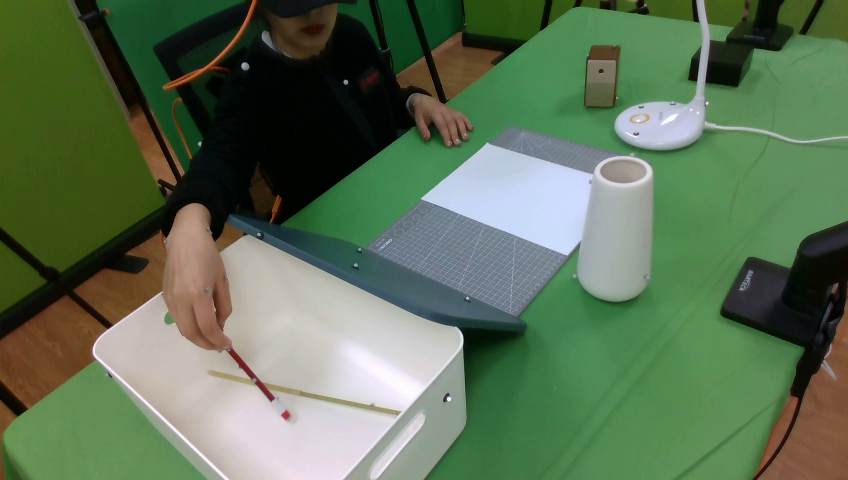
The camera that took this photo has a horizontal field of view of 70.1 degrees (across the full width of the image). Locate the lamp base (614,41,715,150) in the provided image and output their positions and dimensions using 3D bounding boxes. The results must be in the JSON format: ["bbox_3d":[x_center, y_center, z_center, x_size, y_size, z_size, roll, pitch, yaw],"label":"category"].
[{"bbox_3d":[0.449,-0.277,1.106,0.179,0.181,0.160,1,41,9],"label":"lamp base"}]

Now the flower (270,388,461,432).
[{"bbox_3d":[-0.122,0.202,0.770,0.360,0.038,0.044,2,77,22],"label":"flower"}]

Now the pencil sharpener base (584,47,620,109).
[{"bbox_3d":[0.367,-0.336,1.248,0.061,0.107,0.076,6,42,19],"label":"pencil sharpener base"}]

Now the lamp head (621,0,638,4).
[{"bbox_3d":[0.319,-0.453,0.962,0.113,0.123,0.112,20,33,-13],"label":"lamp head"}]

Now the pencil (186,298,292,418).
[{"bbox_3d":[-0.229,0.146,0.747,0.012,0.194,0.012,-40,4,4],"label":"pencil"}]

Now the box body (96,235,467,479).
[{"bbox_3d":[-0.155,0.169,0.707,0.361,0.161,0.255,23,49,33],"label":"box body"}]

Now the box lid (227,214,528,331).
[{"bbox_3d":[-0.062,0.044,0.813,0.368,0.265,0.015,22,93,32],"label":"box lid"}]

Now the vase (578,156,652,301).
[{"bbox_3d":[0.261,-0.011,0.812,0.098,0.201,0.097,-4,40,4],"label":"vase"}]

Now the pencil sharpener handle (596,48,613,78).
[{"bbox_3d":[0.383,-0.378,1.276,0.036,0.068,0.030,3,41,22],"label":"pencil sharpener handle"}]
